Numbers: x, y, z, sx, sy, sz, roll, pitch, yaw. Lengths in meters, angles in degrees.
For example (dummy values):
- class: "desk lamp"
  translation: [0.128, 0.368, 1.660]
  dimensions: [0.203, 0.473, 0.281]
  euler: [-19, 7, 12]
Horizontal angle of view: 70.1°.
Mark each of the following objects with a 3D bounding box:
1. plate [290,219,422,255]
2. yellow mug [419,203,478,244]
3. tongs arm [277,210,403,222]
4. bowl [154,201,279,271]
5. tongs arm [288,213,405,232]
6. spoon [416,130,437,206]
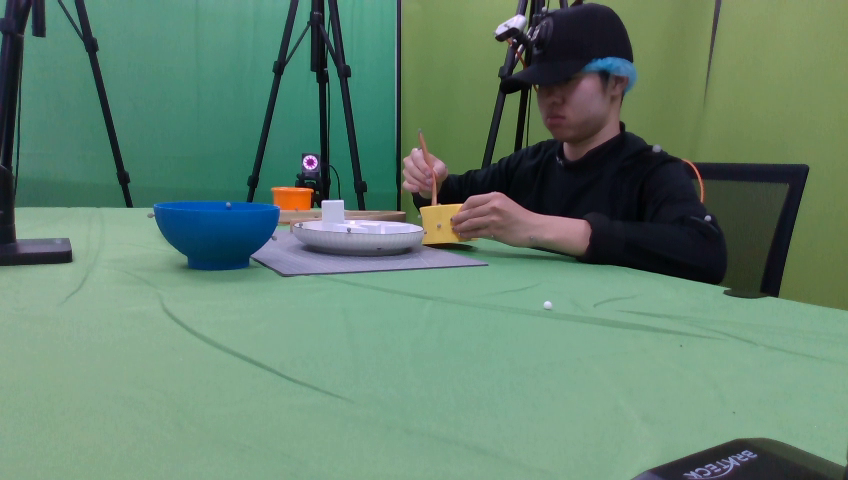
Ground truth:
- class: "plate"
  translation: [-0.108, -0.005, 0.963]
  dimensions: [0.208, 0.039, 0.207]
  euler: [3, 7, 0]
- class: "yellow mug"
  translation: [0.050, -0.029, 1.042]
  dimensions: [0.100, 0.064, 0.130]
  euler: [-5, 2, -30]
- class: "tongs arm"
  translation: [-0.206, -0.051, 1.332]
  dimensions: [0.387, 0.026, 0.050]
  euler: [-2, 8, -44]
- class: "bowl"
  translation: [-0.263, -0.005, 0.773]
  dimensions: [0.151, 0.077, 0.151]
  euler: [3, 8, 0]
- class: "tongs arm"
  translation: [-0.146, -0.040, 1.280]
  dimensions: [0.028, 0.028, 0.389]
  euler: [3, 5, 33]
- class: "spoon"
  translation: [0.013, -0.101, 1.060]
  dimensions: [0.021, 0.193, 0.041]
  euler: [-11, -4, 5]
